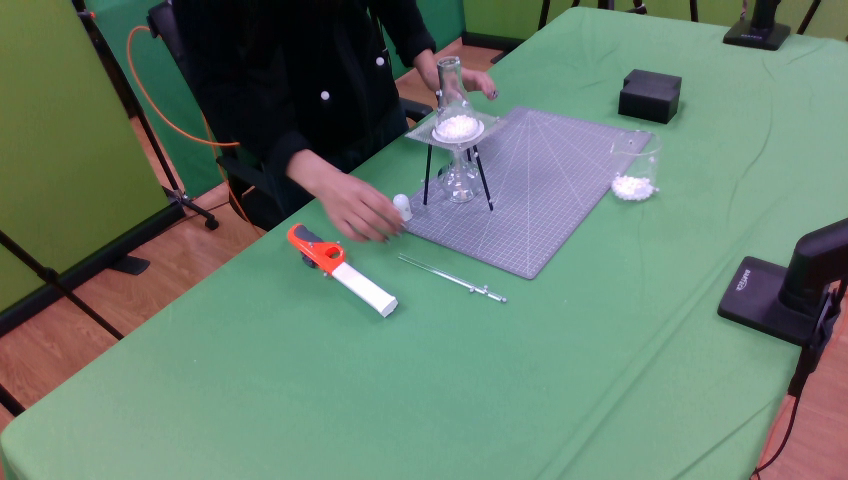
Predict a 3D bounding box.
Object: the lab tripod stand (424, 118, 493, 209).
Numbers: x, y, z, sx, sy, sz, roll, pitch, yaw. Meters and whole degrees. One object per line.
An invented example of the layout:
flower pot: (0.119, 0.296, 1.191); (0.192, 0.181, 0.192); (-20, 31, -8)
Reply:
lab tripod stand: (0.061, -0.133, 1.038); (0.148, 0.132, 0.147); (-6, 39, 6)

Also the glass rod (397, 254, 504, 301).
glass rod: (0.036, 0.054, 0.922); (0.198, 0.008, 0.008); (21, 49, 31)

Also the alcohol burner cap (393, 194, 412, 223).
alcohol burner cap: (-0.039, -0.056, 1.039); (0.034, 0.048, 0.033); (-6, 39, 5)

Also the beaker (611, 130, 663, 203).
beaker: (0.346, -0.118, 0.998); (0.084, 0.101, 0.073); (-17, 40, -7)

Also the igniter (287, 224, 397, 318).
igniter: (-0.139, 0.042, 0.958); (0.057, 0.025, 0.274); (-42, 49, -19)

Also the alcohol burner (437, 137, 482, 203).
alcohol burner: (0.060, -0.125, 1.045); (0.078, 0.119, 0.077); (-5, 39, 4)

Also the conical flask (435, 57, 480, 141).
conical flask: (0.046, -0.224, 0.954); (0.075, 0.122, 0.075); (-7, 39, 6)

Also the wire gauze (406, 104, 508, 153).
wire gauze: (0.054, -0.183, 0.997); (0.120, 0.011, 0.125); (26, 53, 38)
